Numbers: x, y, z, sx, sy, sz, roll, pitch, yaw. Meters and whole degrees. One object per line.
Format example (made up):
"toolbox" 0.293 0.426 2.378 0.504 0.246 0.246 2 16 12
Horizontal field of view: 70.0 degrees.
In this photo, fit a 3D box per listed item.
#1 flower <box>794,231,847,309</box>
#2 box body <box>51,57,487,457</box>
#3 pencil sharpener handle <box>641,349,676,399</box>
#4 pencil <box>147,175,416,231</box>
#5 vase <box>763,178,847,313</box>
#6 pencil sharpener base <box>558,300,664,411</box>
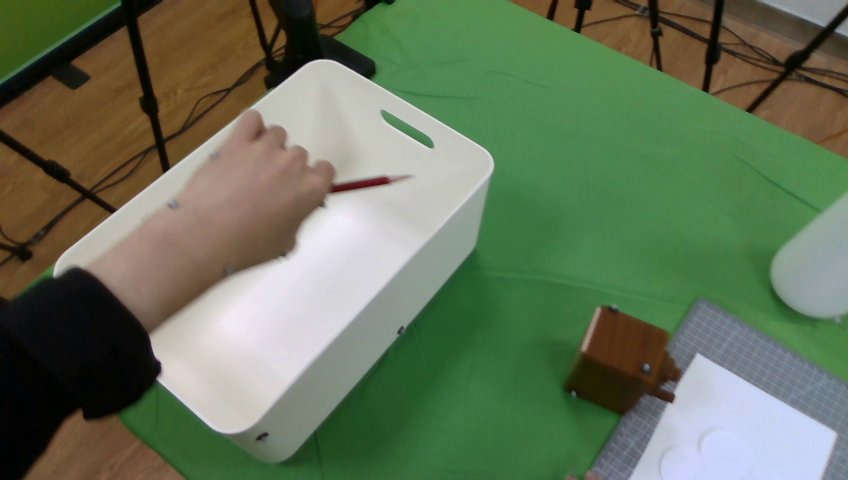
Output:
"flower" 0.439 -0.060 0.564 0.044 0.364 0.038 26 44 20
"box body" -0.135 0.011 0.642 0.252 0.162 0.363 33 64 19
"pencil sharpener handle" 0.232 0.131 0.585 0.030 0.068 0.036 21 54 13
"pencil" -0.101 -0.029 0.437 0.194 0.012 0.012 -11 58 -2
"vase" 0.438 -0.004 0.628 0.098 0.202 0.097 0 57 1
"pencil sharpener base" 0.187 0.119 0.607 0.076 0.108 0.061 21 60 13
